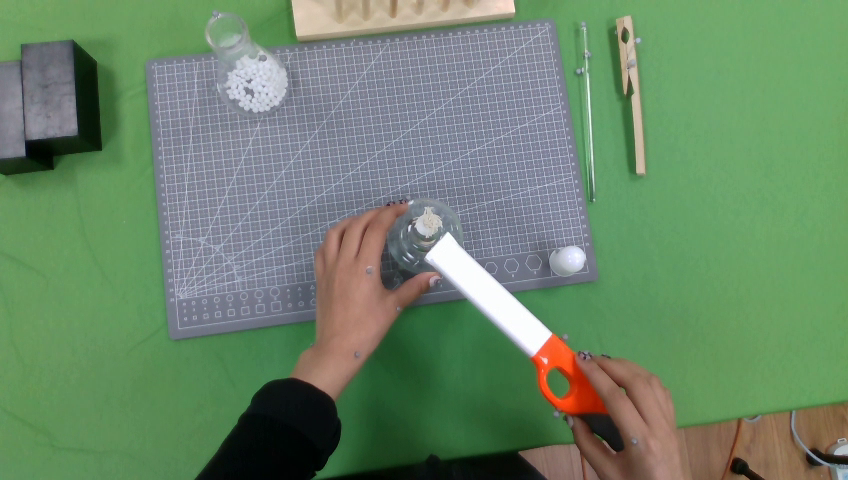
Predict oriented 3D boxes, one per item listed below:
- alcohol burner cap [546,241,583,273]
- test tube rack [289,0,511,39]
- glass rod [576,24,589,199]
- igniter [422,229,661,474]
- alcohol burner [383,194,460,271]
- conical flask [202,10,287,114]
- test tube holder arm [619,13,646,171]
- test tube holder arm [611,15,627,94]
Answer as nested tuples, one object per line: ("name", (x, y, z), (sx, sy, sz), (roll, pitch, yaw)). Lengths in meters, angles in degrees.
("alcohol burner cap", (0.149, 0.016, 0.633), (0.034, 0.048, 0.033), (1, 81, -3))
("test tube rack", (-0.025, -0.276, 0.639), (0.242, 0.085, 0.066), (-8, 83, -5))
("glass rod", (0.177, -0.144, 0.674), (0.008, 0.008, 0.199), (-1, 85, -4))
("igniter", (0.106, 0.098, 0.530), (0.276, 0.025, 0.057), (44, 77, -1))
("alcohol burner", (-0.002, -0.011, 0.590), (0.078, 0.119, 0.077), (0, 81, -2))
("conical flask", (-0.181, -0.178, 0.594), (0.075, 0.122, 0.075), (1, 82, -4))
("test tube holder arm", (0.231, -0.165, 0.675), (0.013, 0.015, 0.178), (-10, 83, 30))
("test tube holder arm", (0.222, -0.209, 0.682), (0.010, 0.015, 0.087), (-9, 83, 30))
